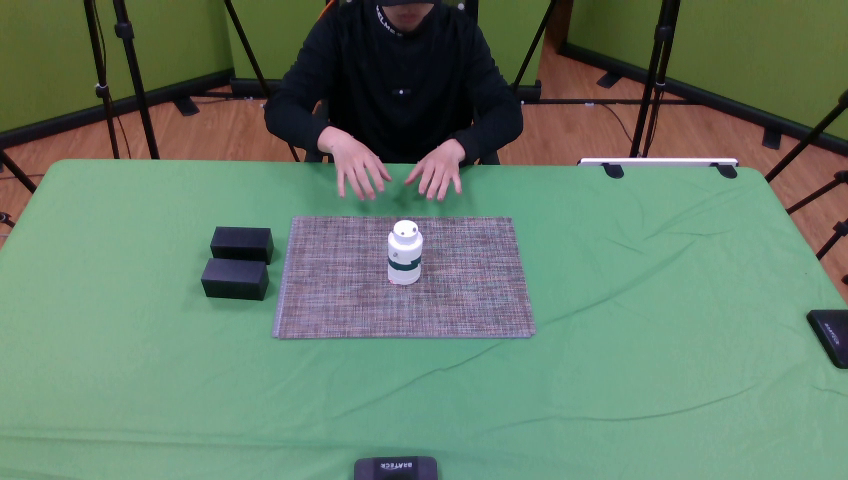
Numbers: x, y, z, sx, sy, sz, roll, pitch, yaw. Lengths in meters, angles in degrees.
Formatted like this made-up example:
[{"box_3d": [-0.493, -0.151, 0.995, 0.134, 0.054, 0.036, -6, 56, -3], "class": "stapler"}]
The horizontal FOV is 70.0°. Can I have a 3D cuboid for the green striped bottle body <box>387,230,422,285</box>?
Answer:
[{"box_3d": [-0.036, 0.021, 1.102, 0.063, 0.120, 0.063, 2, 46, -2], "class": "green striped bottle body"}]

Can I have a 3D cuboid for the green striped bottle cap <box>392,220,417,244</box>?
[{"box_3d": [-0.035, -0.015, 1.065, 0.044, 0.020, 0.044, 4, 43, -4], "class": "green striped bottle cap"}]
